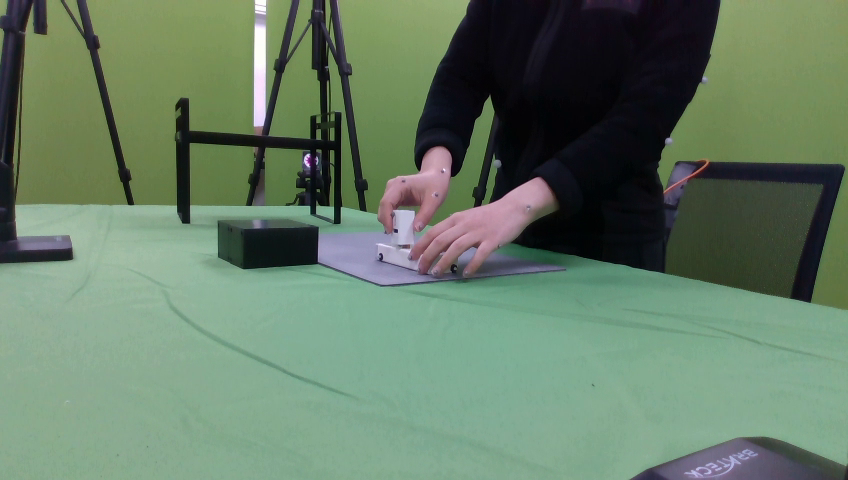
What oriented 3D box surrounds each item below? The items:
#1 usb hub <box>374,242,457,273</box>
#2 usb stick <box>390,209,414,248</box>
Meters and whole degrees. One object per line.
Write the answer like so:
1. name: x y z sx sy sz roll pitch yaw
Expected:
1. usb hub: -0.014 0.021 0.798 0.050 0.025 0.124 -3 8 -36
2. usb stick: -0.029 -0.010 0.790 0.027 0.059 0.021 -7 11 -36
